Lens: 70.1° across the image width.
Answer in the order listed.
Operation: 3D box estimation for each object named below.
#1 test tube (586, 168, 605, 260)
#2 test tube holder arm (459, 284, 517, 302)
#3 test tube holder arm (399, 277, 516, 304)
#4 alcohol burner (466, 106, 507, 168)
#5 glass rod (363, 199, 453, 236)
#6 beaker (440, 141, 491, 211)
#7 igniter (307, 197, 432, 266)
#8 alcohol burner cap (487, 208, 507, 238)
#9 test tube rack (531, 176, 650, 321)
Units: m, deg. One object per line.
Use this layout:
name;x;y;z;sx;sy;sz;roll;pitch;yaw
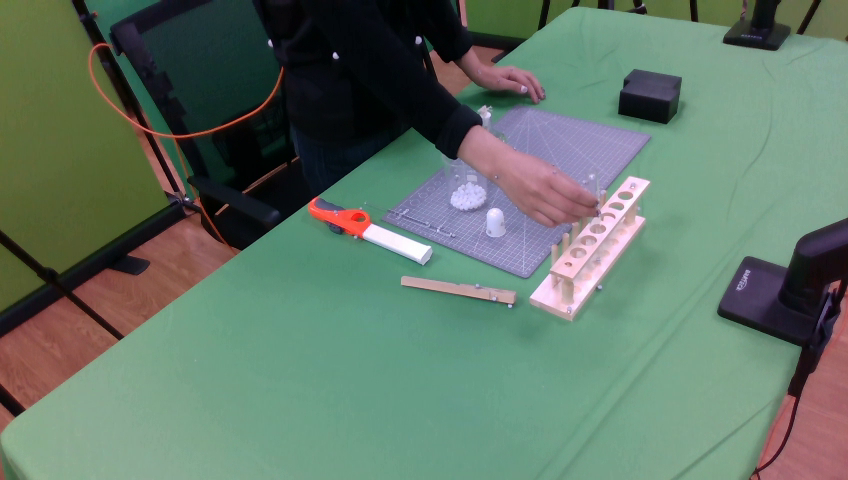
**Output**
test tube;0.237;-0.032;0.832;0.017;0.151;0.017;-11;36;8
test tube holder arm;0.091;0.078;0.877;0.087;0.015;0.010;7;9;20
test tube holder arm;0.047;0.073;0.886;0.177;0.015;0.013;7;9;18
alcohol burner;0.115;-0.193;1.112;0.078;0.119;0.077;-4;41;4
glass rod;-0.031;-0.041;1.041;0.198;0.008;0.008;22;50;31
beaker;0.074;-0.106;1.028;0.084;0.101;0.073;-1;41;8
igniter;-0.102;-0.020;1.019;0.274;0.025;0.057;23;60;32
alcohol burner cap;0.116;-0.030;0.975;0.034;0.048;0.033;-6;40;5
test tube rack;0.246;0.002;0.884;0.066;0.085;0.243;22;49;32
